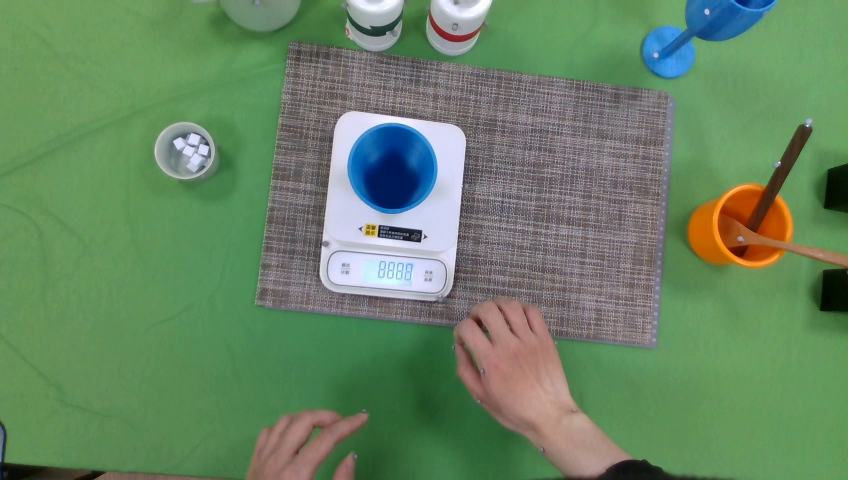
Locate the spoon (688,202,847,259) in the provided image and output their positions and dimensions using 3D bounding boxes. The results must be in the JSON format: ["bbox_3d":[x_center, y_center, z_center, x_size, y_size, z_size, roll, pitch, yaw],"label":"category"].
[{"bbox_3d":[0.381,-0.003,0.649,0.022,0.192,0.041,19,92,-46],"label":"spoon"}]

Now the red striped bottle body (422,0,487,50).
[{"bbox_3d":[0.034,-0.257,0.651,0.063,0.120,0.063,0,85,-5],"label":"red striped bottle body"}]

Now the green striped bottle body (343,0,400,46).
[{"bbox_3d":[-0.056,-0.259,0.644,0.063,0.119,0.063,0,85,-4],"label":"green striped bottle body"}]

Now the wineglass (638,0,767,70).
[{"bbox_3d":[0.296,-0.243,0.646,0.074,0.172,0.073,0,85,-4],"label":"wineglass"}]

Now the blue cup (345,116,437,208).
[{"bbox_3d":[-0.034,-0.070,0.607,0.093,0.100,0.092,0,88,-4],"label":"blue cup"}]

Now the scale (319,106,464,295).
[{"bbox_3d":[-0.035,-0.044,0.671,0.149,0.031,0.200,5,86,-4],"label":"scale"}]

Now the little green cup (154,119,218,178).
[{"bbox_3d":[-0.254,-0.096,0.655,0.061,0.038,0.061,1,86,-6],"label":"little green cup"}]

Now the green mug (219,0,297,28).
[{"bbox_3d":[-0.200,-0.282,0.641,0.125,0.105,0.092,-16,87,-5],"label":"green mug"}]

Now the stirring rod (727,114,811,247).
[{"bbox_3d":[0.368,-0.058,0.652,0.014,0.177,0.006,13,44,9],"label":"stirring rod"}]
